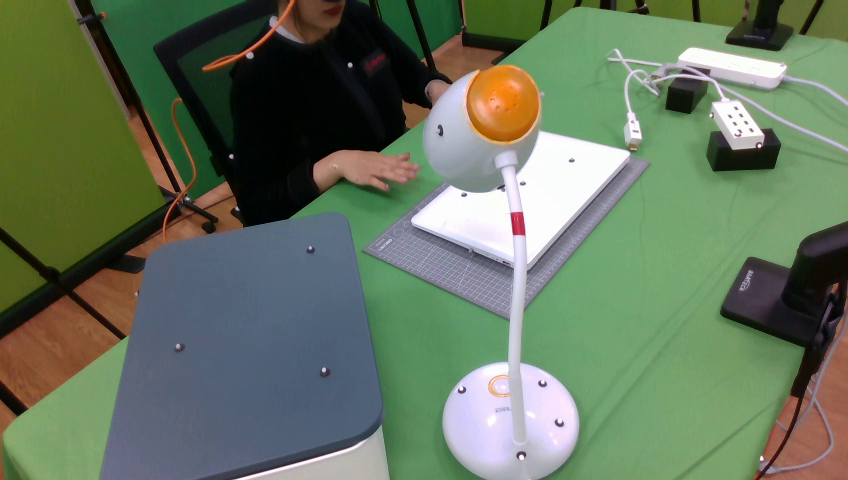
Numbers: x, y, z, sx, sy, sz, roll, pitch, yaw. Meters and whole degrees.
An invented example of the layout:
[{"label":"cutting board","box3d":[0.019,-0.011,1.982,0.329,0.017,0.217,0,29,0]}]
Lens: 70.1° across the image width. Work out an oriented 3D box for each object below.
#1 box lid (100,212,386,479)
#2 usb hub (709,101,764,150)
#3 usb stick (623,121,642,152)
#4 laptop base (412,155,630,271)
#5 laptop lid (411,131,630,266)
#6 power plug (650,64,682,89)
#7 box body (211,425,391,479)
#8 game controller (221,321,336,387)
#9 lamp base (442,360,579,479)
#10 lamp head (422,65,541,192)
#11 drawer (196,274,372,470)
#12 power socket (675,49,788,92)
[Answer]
[{"label":"box lid","box3d":[-0.195,0.094,0.680,0.264,0.015,0.368,-12,39,-6]},{"label":"usb hub","box3d":[0.534,-0.199,1.040,0.049,0.025,0.124,-5,39,8]},{"label":"usb stick","box3d":[0.389,-0.192,1.128,0.021,0.027,0.059,9,61,-10]},{"label":"laptop base","box3d":[0.176,-0.084,1.056,0.233,0.023,0.355,20,48,36]},{"label":"laptop lid","box3d":[0.172,-0.094,1.050,0.239,0.013,0.358,23,49,36]},{"label":"power plug","box3d":[0.498,-0.341,1.263,0.035,0.052,0.072,20,10,-7]},{"label":"box body","box3d":[-0.190,0.161,0.723,0.255,0.161,0.361,-13,40,-5]},{"label":"game controller","box3d":[-0.196,0.145,0.812,0.155,0.051,0.096,-18,11,-10]},{"label":"lamp base","box3d":[0.094,0.158,0.657,0.161,0.181,0.178,-13,42,-5]},{"label":"lamp head","box3d":[0.060,-0.106,0.560,0.113,0.112,0.122,-16,0,-8]},{"label":"drawer","box3d":[-0.184,0.159,0.773,0.195,0.073,0.210,-17,41,-7]},{"label":"power socket","box3d":[0.647,-0.363,1.284,0.225,0.033,0.072,26,53,35]}]
